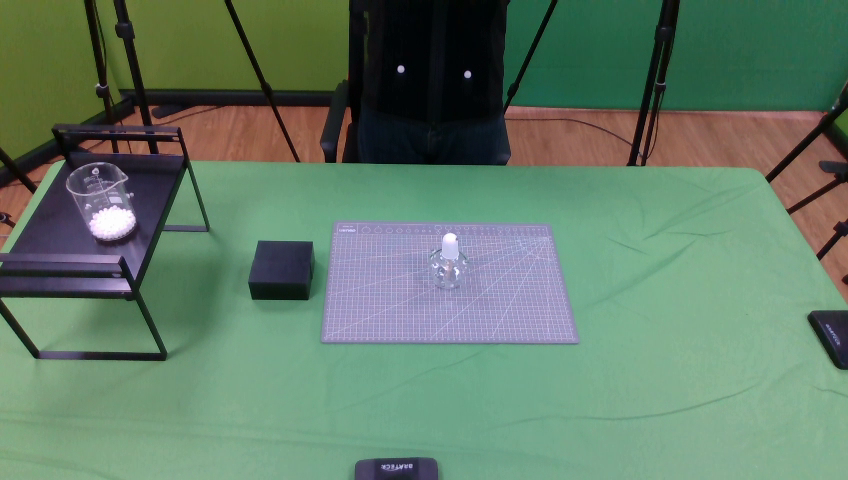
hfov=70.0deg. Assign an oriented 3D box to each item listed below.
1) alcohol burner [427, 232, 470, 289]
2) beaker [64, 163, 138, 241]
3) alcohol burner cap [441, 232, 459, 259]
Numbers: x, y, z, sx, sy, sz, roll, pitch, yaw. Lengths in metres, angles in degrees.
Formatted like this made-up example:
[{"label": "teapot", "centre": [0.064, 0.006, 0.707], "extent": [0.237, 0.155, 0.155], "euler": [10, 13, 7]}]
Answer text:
[{"label": "alcohol burner", "centre": [0.045, 0.032, 1.099], "extent": [0.078, 0.120, 0.077], "euler": [0, 46, 0]}, {"label": "beaker", "centre": [-0.477, -0.055, 0.910], "extent": [0.084, 0.101, 0.073], "euler": [-9, 48, -13]}, {"label": "alcohol burner cap", "centre": [0.046, 0.007, 1.075], "extent": [0.034, 0.048, 0.033], "euler": [0, 42, 0]}]
